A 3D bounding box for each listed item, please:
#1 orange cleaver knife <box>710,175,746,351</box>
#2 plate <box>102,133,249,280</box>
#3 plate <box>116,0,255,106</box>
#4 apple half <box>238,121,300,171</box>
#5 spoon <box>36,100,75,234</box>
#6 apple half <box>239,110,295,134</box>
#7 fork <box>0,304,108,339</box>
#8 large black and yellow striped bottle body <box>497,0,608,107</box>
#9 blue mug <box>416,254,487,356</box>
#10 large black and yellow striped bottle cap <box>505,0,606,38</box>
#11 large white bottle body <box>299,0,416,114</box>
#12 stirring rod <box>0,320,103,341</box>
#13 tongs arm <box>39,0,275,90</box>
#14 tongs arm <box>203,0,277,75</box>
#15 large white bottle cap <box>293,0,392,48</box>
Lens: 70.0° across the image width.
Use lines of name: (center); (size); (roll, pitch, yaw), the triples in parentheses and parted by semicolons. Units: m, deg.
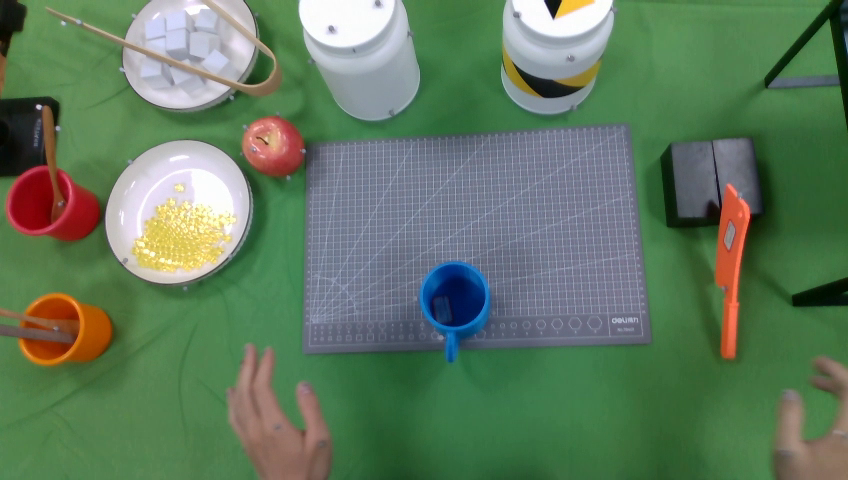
orange cleaver knife: (0.363, 0.030, 0.733); (0.012, 0.077, 0.212); (-3, 109, 5)
plate: (-0.340, -0.045, 0.843); (0.209, 0.038, 0.208); (-1, 78, 6)
plate: (-0.347, -0.292, 0.896); (0.207, 0.039, 0.206); (-1, 78, 5)
apple half: (-0.207, -0.122, 0.828); (0.081, 0.075, 0.053); (-16, 81, -1)
spoon: (-0.500, -0.093, 0.814); (0.041, 0.021, 0.195); (18, 125, 10)
apple half: (-0.218, -0.159, 0.836); (0.081, 0.081, 0.032); (-17, 81, 2)
fork: (-0.516, 0.092, 0.773); (0.209, 0.018, 0.028); (23, 76, -34)
large black and yellow striped bottle body: (0.158, -0.264, 0.765); (0.130, 0.185, 0.130); (-1, 77, 6)
blue mug: (0.035, 0.084, 0.742); (0.082, 0.106, 0.116); (6, 79, 7)
large black and yellow striped bottle cap: (0.149, -0.285, 0.684); (0.115, 0.019, 0.114); (-1, 79, 4)
large white bottle body: (-0.085, -0.260, 0.788); (0.130, 0.185, 0.130); (-1, 77, 6)
stirring rod: (-0.507, 0.112, 0.770); (0.177, 0.006, 0.014); (14, 64, -33)
tongs arm: (-0.388, -0.290, 0.866); (0.383, 0.027, 0.050); (25, 78, 12)
tongs arm: (-0.343, -0.359, 0.878); (0.385, 0.028, 0.028); (40, 78, 14)
large white bottle cap: (-0.095, -0.279, 0.705); (0.115, 0.018, 0.114); (-1, 78, 6)
